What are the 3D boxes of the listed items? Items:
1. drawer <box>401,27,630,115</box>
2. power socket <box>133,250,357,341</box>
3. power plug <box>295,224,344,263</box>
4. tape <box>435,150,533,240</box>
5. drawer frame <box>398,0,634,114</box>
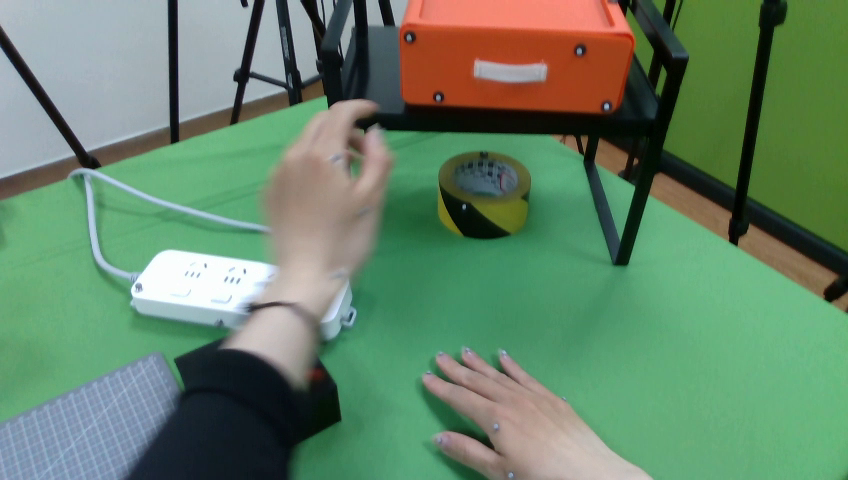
[{"bbox_3d":[0.085,-0.209,0.606,0.194,0.074,0.210,3,40,3],"label":"drawer"},{"bbox_3d":[-0.180,0.054,0.609,0.226,0.033,0.071,7,41,8],"label":"power socket"},{"bbox_3d":[-0.120,0.010,0.676,0.072,0.035,0.052,-23,27,35],"label":"power plug"},{"bbox_3d":[0.071,-0.056,0.724,0.117,0.053,0.115,1,42,0],"label":"tape"},{"bbox_3d":[0.084,-0.213,0.609,0.201,0.083,0.211,2,40,2],"label":"drawer frame"}]
